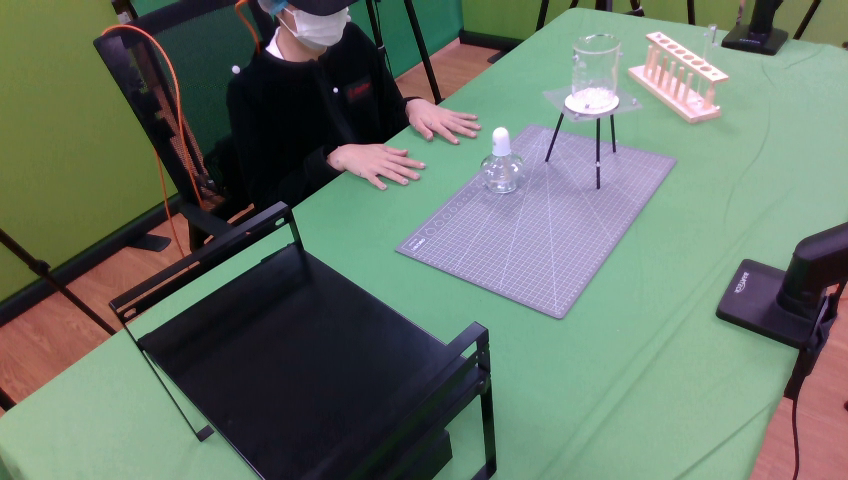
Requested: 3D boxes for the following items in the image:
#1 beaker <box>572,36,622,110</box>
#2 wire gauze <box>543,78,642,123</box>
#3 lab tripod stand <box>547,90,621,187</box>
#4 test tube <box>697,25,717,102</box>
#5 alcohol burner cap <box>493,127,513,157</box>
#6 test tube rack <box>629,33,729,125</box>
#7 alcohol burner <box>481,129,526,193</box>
[{"bbox_3d":[0.279,-0.273,0.992,0.074,0.101,0.083,-14,40,-5],"label":"beaker"},{"bbox_3d":[0.282,-0.234,1.022,0.125,0.011,0.120,-17,38,-4],"label":"wire gauze"},{"bbox_3d":[0.289,-0.184,1.062,0.148,0.132,0.147,-6,41,6],"label":"lab tripod stand"},{"bbox_3d":[0.546,-0.337,1.166,0.017,0.151,0.017,-5,36,4],"label":"test tube"},{"bbox_3d":[0.132,-0.169,1.030,0.034,0.048,0.033,-7,36,5],"label":"alcohol burner cap"},{"bbox_3d":[0.516,-0.337,1.248,0.067,0.085,0.240,-14,41,-7],"label":"test tube rack"},{"bbox_3d":[0.138,-0.142,1.052,0.078,0.119,0.077,-5,42,5],"label":"alcohol burner"}]
